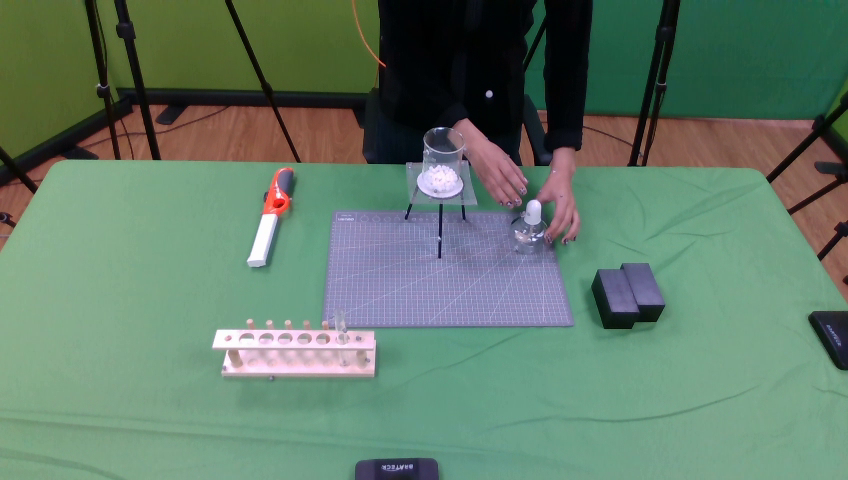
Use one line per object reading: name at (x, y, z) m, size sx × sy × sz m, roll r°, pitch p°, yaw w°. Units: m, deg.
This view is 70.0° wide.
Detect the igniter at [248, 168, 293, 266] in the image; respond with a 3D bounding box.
igniter at (-0.307, -0.055, 1.225) m, size 0.057 × 0.025 × 0.275 m, roll -3°, pitch 46°, yaw 6°

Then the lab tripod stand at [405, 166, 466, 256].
lab tripod stand at (0.030, -0.063, 1.180) m, size 0.148 × 0.132 × 0.147 m, roll 3°, pitch 47°, yaw -3°

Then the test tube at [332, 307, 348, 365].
test tube at (-0.128, 0.151, 0.931) m, size 0.017 × 0.151 × 0.017 m, roll 1°, pitch 50°, yaw -2°

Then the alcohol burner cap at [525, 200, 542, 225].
alcohol burner cap at (0.208, -0.055, 1.149) m, size 0.034 × 0.048 × 0.033 m, roll -2°, pitch 44°, yaw 2°

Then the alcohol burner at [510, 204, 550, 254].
alcohol burner at (0.208, -0.030, 1.174) m, size 0.078 × 0.119 × 0.077 m, roll 2°, pitch 48°, yaw -2°

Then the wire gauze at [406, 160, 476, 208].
wire gauze at (0.031, -0.107, 1.130) m, size 0.125 × 0.011 × 0.120 m, roll 1°, pitch 48°, yaw -7°

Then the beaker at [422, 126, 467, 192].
beaker at (0.032, -0.146, 1.100) m, size 0.074 × 0.101 × 0.083 m, roll -16°, pitch 50°, yaw -20°

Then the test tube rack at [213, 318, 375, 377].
test tube rack at (-0.202, 0.169, 0.977) m, size 0.242 × 0.085 × 0.066 m, roll 1°, pitch 46°, yaw -3°
